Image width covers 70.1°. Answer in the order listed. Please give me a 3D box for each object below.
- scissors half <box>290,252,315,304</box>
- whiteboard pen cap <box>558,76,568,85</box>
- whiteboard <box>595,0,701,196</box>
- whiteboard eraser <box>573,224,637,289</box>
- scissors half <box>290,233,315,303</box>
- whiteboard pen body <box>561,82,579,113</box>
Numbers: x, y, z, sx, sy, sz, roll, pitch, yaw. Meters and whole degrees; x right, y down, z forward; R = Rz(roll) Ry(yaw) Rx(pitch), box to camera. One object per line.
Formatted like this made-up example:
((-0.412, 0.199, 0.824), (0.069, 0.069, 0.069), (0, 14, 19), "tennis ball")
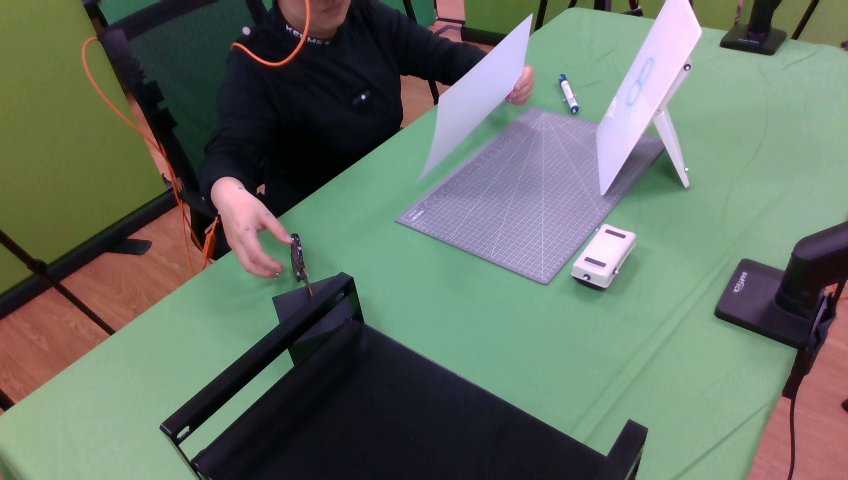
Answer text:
((-0.178, 0.058, 0.894), (0.013, 0.040, 0.174), (-11, 21, -18), "scissors half")
((0.309, -0.350, 1.341), (0.018, 0.018, 0.033), (-6, 41, 2), "whiteboard pen cap")
((0.420, -0.227, 1.010), (0.144, 0.305, 0.216), (18, 42, -2), "whiteboard")
((0.267, 0.025, 0.891), (0.055, 0.042, 0.113), (19, 47, 31), "whiteboard eraser")
((-0.177, 0.040, 0.885), (0.013, 0.040, 0.174), (-6, 36, -21), "scissors half")
((0.310, -0.311, 1.298), (0.017, 0.017, 0.140), (-6, 41, 2), "whiteboard pen body")
